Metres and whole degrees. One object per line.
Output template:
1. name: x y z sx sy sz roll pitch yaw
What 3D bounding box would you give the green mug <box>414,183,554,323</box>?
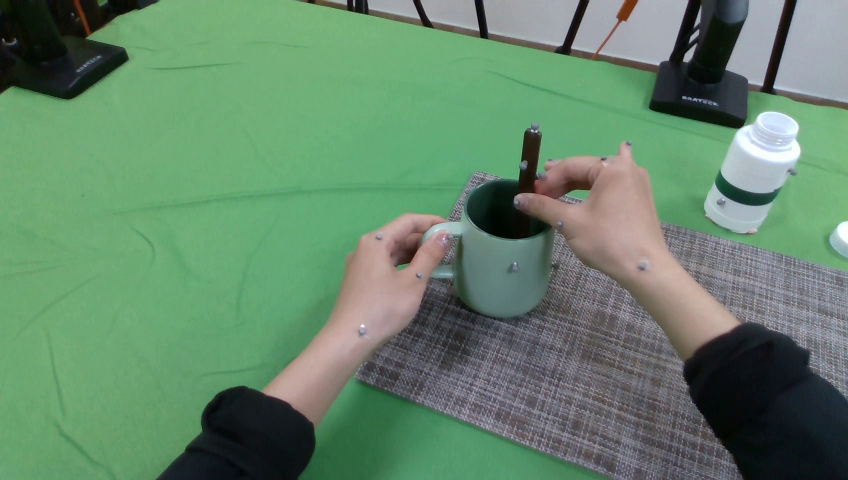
1. green mug: 0.053 0.015 0.545 0.125 0.106 0.091 -6 46 -6

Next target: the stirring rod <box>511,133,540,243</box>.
1. stirring rod: 0.084 -0.022 0.520 0.014 0.178 0.006 18 53 17

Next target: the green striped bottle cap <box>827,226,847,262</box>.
1. green striped bottle cap: 0.446 0.006 0.629 0.044 0.020 0.044 2 42 -1

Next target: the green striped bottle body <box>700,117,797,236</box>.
1. green striped bottle body: 0.336 -0.067 0.624 0.063 0.120 0.062 1 46 0
